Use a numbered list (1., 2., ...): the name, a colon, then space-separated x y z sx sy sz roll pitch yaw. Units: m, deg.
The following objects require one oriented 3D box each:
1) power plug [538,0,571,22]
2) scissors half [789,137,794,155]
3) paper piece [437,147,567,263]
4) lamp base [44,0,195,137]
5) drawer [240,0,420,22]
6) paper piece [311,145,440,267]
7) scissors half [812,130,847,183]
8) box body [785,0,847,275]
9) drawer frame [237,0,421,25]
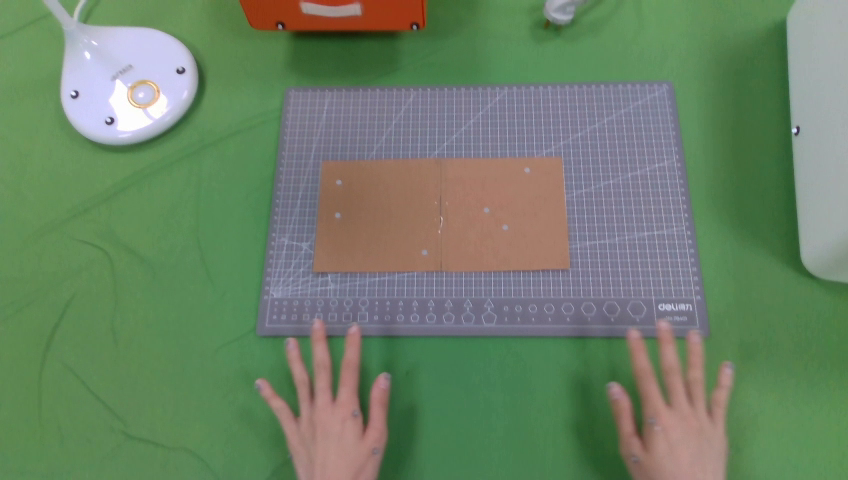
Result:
1. power plug: 0.171 -0.279 0.716 0.073 0.053 0.035 -1 65 -19
2. scissors half: 0.460 -0.136 0.656 0.175 0.013 0.040 -29 73 -13
3. paper piece: 0.081 -0.039 0.645 0.135 0.004 0.135 0 70 3
4. lamp base: -0.365 -0.226 0.645 0.178 0.181 0.160 32 74 16
5. drawer: -0.099 -0.351 0.685 0.194 0.074 0.210 1 69 4
6. paper piece: -0.051 -0.037 0.652 0.136 0.009 0.137 -1 71 6
7. scissors half: 0.473 -0.121 0.652 0.040 0.013 0.175 41 74 7
8. box body: 0.510 -0.140 0.582 0.254 0.161 0.362 7 70 5
9. drawer frame: -0.100 -0.353 0.685 0.201 0.083 0.212 0 69 3
